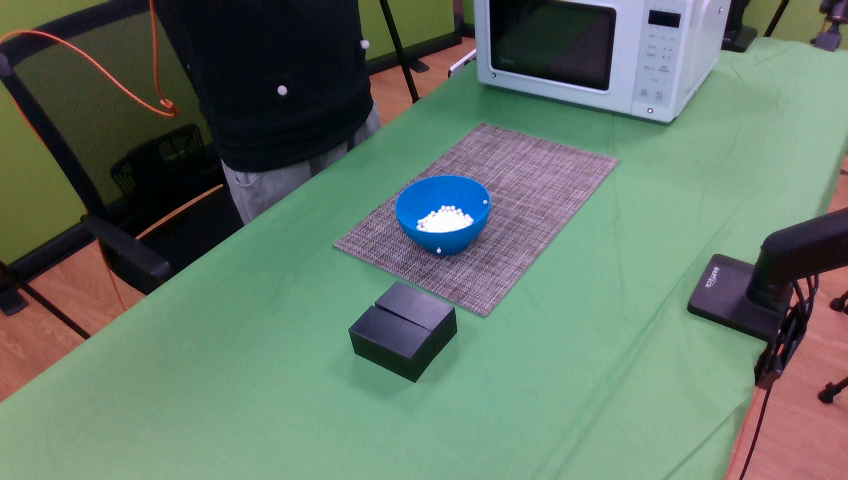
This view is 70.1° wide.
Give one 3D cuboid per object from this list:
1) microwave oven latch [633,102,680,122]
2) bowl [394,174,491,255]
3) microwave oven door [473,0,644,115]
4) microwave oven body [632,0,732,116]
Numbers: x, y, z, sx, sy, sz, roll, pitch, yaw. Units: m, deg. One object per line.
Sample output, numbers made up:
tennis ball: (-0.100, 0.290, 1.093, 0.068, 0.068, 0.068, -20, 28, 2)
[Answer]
microwave oven latch: (0.444, -0.249, 1.157, 0.078, 0.029, 0.030, 21, 49, 30)
bowl: (0.032, -0.030, 0.949, 0.151, 0.077, 0.150, -4, 40, 4)
microwave oven door: (0.257, -0.396, 1.199, 0.353, 0.245, 0.039, 21, 48, 29)
microwave oven body: (0.377, -0.462, 1.267, 0.438, 0.261, 0.327, 21, 48, 30)
